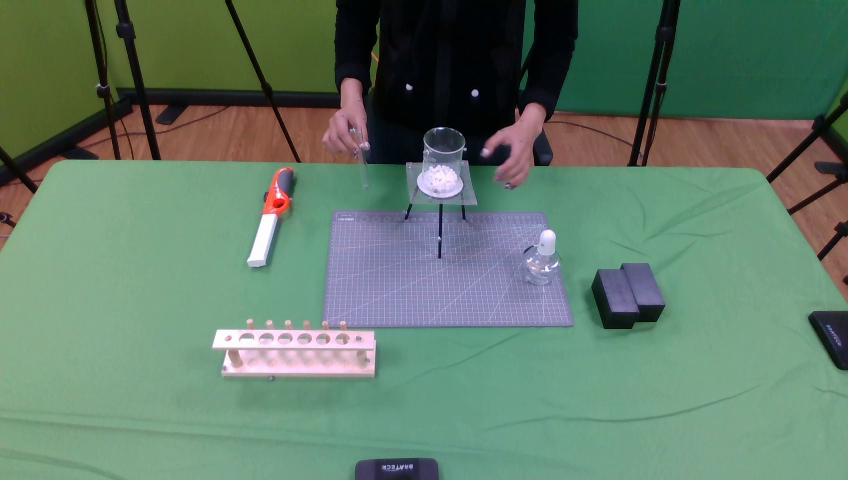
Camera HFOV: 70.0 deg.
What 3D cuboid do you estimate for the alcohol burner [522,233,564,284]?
[{"bbox_3d":[0.223,0.027,1.121,0.078,0.119,0.077,2,48,-2],"label":"alcohol burner"}]

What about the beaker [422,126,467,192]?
[{"bbox_3d":[0.032,-0.146,1.100,0.074,0.101,0.083,-16,51,-20],"label":"beaker"}]

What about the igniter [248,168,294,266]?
[{"bbox_3d":[-0.307,-0.055,1.225,0.057,0.025,0.275,-3,45,6],"label":"igniter"}]

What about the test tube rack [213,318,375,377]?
[{"bbox_3d":[-0.202,0.169,0.977,0.242,0.085,0.066,1,46,-3],"label":"test tube rack"}]

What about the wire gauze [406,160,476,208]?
[{"bbox_3d":[0.031,-0.107,1.131,0.125,0.011,0.120,1,48,-7],"label":"wire gauze"}]

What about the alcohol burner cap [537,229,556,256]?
[{"bbox_3d":[0.223,0.001,1.095,0.034,0.048,0.033,0,44,1],"label":"alcohol burner cap"}]

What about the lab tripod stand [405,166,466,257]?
[{"bbox_3d":[0.030,-0.063,1.180,0.148,0.132,0.147,3,47,-3],"label":"lab tripod stand"}]

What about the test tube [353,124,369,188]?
[{"bbox_3d":[-0.121,-0.159,1.169,0.017,0.151,0.017,-1,47,2],"label":"test tube"}]
